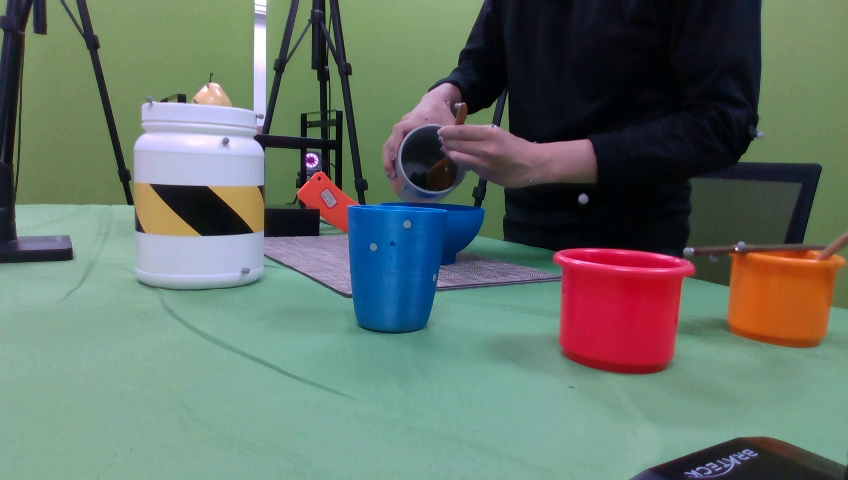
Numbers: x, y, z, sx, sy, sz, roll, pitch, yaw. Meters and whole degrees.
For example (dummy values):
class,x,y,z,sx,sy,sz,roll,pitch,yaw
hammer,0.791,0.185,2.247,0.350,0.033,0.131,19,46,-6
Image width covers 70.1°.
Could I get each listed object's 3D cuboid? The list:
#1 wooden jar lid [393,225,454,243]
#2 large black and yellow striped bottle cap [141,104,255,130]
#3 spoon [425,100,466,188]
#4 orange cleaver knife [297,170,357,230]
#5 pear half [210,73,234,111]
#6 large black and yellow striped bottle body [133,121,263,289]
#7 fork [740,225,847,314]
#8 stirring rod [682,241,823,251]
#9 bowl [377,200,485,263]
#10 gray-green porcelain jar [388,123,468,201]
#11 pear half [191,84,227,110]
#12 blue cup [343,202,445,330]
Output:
class,x,y,z,sx,sy,sz,roll,pitch,yaw
wooden jar lid,-0.001,-0.011,1.058,0.108,0.020,0.108,8,5,0
large black and yellow striped bottle cap,-0.241,-0.131,0.650,0.115,0.019,0.115,3,8,0
spoon,0.036,-0.133,0.873,0.042,0.021,0.193,2,-26,-11
orange cleaver knife,-0.149,-0.058,1.170,0.212,0.077,0.012,32,-14,-32
pear half,-0.402,-0.262,1.162,0.076,0.109,0.056,6,8,2
large black and yellow striped bottle body,-0.243,-0.048,0.659,0.131,0.184,0.130,2,7,0
fork,0.323,0.013,0.485,0.028,0.018,0.207,9,-38,-5
stirring rod,0.289,0.005,0.525,0.177,0.006,0.014,-1,5,-26
bowl,0.008,-0.012,0.841,0.151,0.077,0.151,2,7,0
gray-green porcelain jar,0.001,-0.112,0.933,0.106,0.105,0.126,1,-7,-11
pear half,-0.406,-0.248,1.128,0.070,0.088,0.031,5,7,2
blue cup,-0.027,0.021,0.510,0.093,0.100,0.092,3,5,0
